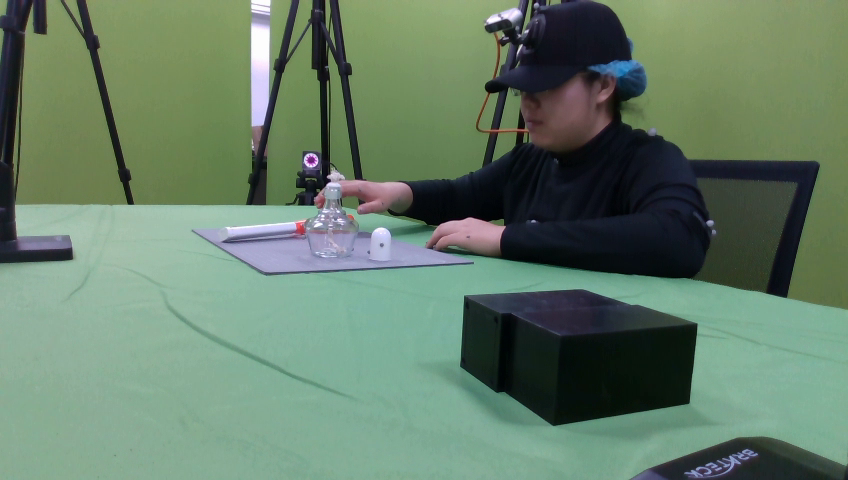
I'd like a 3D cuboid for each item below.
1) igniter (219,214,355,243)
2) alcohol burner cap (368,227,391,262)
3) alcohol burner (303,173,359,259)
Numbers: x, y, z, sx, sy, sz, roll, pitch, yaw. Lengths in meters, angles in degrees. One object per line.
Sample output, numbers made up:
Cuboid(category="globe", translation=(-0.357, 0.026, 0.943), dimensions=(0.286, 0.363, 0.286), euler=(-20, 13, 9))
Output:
Cuboid(category="igniter", translation=(-0.219, -0.021, 1.033), dimensions=(0.057, 0.025, 0.278), euler=(-20, -7, 39))
Cuboid(category="alcohol burner cap", translation=(-0.060, 0.006, 0.836), dimensions=(0.034, 0.048, 0.034), euler=(3, 7, 0))
Cuboid(category="alcohol burner", translation=(-0.130, -0.034, 0.850), dimensions=(0.078, 0.119, 0.078), euler=(2, 5, 0))
